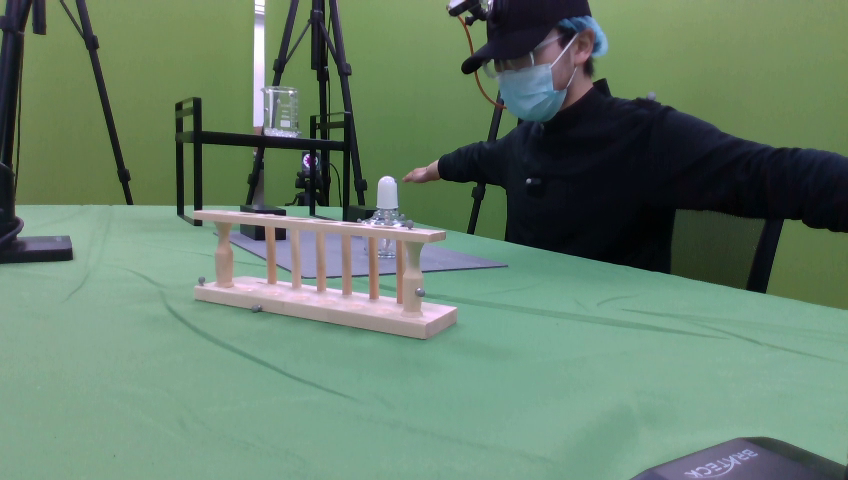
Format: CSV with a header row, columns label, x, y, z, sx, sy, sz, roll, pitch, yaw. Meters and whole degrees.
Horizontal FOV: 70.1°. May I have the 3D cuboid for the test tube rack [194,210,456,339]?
label,x,y,z,sx,sy,sz,roll,pitch,yaw
test tube rack,-0.093,0.023,0.545,0.241,0.085,0.067,6,8,25

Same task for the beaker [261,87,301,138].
label,x,y,z,sx,sy,sz,roll,pitch,yaw
beaker,-0.298,-0.263,1.255,0.084,0.100,0.073,-5,10,-40

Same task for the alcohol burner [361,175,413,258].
label,x,y,z,sx,sy,sz,roll,pitch,yaw
alcohol burner,-0.054,-0.034,0.871,0.078,0.119,0.078,1,8,0

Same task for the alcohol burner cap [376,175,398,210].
label,x,y,z,sx,sy,sz,roll,pitch,yaw
alcohol burner cap,-0.053,-0.069,0.867,0.034,0.048,0.034,2,13,0
